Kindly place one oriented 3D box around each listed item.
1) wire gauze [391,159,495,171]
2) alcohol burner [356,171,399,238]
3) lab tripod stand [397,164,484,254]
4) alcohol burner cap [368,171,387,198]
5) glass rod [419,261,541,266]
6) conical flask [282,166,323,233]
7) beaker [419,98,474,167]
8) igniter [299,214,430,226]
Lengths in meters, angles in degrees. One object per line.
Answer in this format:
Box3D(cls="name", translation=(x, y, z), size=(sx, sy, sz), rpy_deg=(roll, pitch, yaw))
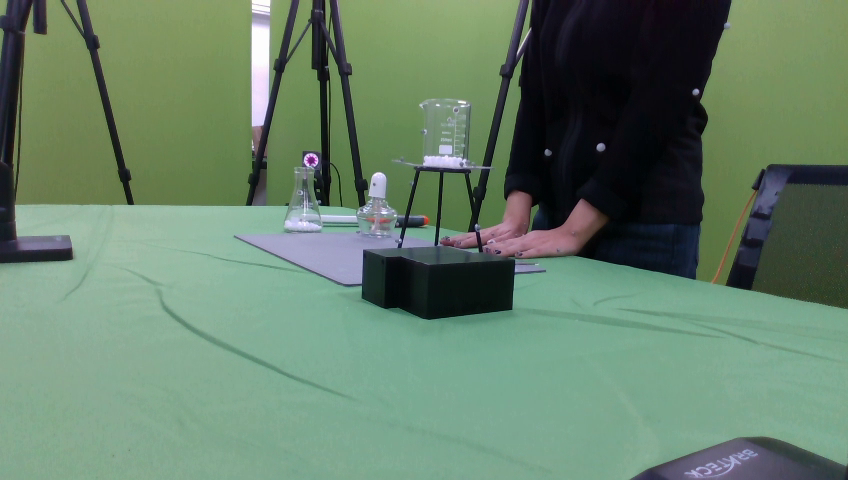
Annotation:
Box3D(cls="wire gauze", translation=(0.032, -0.114, 0.923), size=(0.124, 0.011, 0.122), rpy_deg=(5, 5, 32))
Box3D(cls="alcohol burner", translation=(-0.084, -0.064, 1.092), size=(0.078, 0.119, 0.078), rpy_deg=(2, 10, 0))
Box3D(cls="lab tripod stand", translation=(0.029, -0.049, 0.930), size=(0.148, 0.131, 0.148), rpy_deg=(4, 7, 0))
Box3D(cls="alcohol burner cap", translation=(-0.083, -0.100, 1.088), size=(0.034, 0.048, 0.034), rpy_deg=(6, 3, 0))
Box3D(cls="glass rod", translation=(0.080, 0.032, 0.807), size=(0.201, 0.008, 0.008), rpy_deg=(1, 6, -32))
Box3D(cls="conical flask", translation=(-0.225, -0.076, 1.129), size=(0.075, 0.122, 0.075), rpy_deg=(2, 8, 0))
Box3D(cls="beaker", translation=(0.032, -0.161, 0.913), size=(0.084, 0.100, 0.074), rpy_deg=(1, 7, -10))
Box3D(cls="igniter", translation=(-0.123, -0.044, 1.281), size=(0.278, 0.025, 0.057), rpy_deg=(0, -2, -19))
